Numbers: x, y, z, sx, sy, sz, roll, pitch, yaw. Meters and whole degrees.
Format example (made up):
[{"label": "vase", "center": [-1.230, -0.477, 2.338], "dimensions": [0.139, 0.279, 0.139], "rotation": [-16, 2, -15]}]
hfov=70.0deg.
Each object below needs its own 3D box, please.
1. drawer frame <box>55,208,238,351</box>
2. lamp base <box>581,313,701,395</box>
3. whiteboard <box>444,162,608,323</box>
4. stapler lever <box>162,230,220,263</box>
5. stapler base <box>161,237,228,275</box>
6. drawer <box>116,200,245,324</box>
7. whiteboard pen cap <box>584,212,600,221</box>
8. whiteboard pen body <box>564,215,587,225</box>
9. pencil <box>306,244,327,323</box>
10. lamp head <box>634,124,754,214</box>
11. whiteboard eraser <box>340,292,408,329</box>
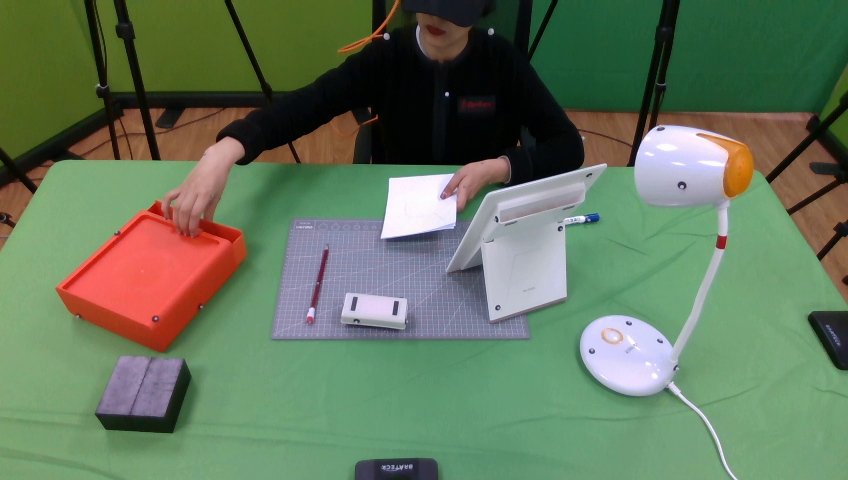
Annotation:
[{"label": "drawer frame", "center": [-0.474, 0.062, 1.059], "dimensions": [0.201, 0.083, 0.213], "rotation": [19, 48, 13]}, {"label": "lamp base", "center": [0.361, 0.144, 0.973], "dimensions": [0.178, 0.181, 0.160], "rotation": [34, 53, 23]}, {"label": "whiteboard", "center": [0.186, 0.026, 1.028], "dimensions": [0.217, 0.306, 0.143], "rotation": [-14, 68, -17]}, {"label": "stapler lever", "center": [-0.428, 0.008, 1.111], "dimensions": [0.118, 0.040, 0.027], "rotation": [22, 48, 13]}, {"label": "stapler base", "center": [-0.428, 0.024, 1.128], "dimensions": [0.130, 0.024, 0.041], "rotation": [21, 47, 15]}, {"label": "drawer", "center": [-0.463, 0.042, 1.082], "dimensions": [0.194, 0.073, 0.211], "rotation": [19, 48, 13]}, {"label": "whiteboard pen cap", "center": [0.351, -0.048, 1.271], "dimensions": [0.033, 0.018, 0.018], "rotation": [-6, 47, -11]}, {"label": "whiteboard pen body", "center": [0.291, -0.040, 1.261], "dimensions": [0.141, 0.017, 0.017], "rotation": [-6, 47, -11]}, {"label": "pencil", "center": [-0.196, 0.076, 1.115], "dimensions": [0.012, 0.012, 0.193], "rotation": [4, 44, 0]}, {"label": "lamp head", "center": [0.351, -0.089, 0.776], "dimensions": [0.112, 0.113, 0.122], "rotation": [-30, 30, -28]}, {"label": "whiteboard eraser", "center": [-0.087, 0.125, 1.052], "dimensions": [0.113, 0.042, 0.055], "rotation": [5, 45, 1]}]
